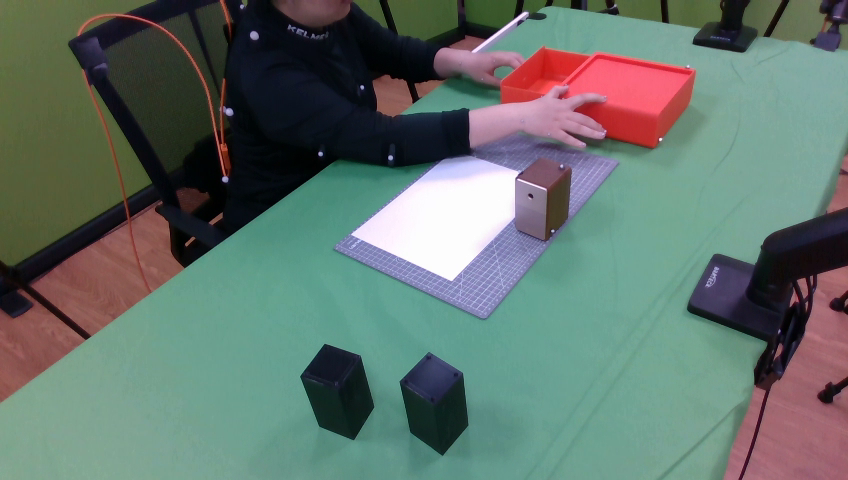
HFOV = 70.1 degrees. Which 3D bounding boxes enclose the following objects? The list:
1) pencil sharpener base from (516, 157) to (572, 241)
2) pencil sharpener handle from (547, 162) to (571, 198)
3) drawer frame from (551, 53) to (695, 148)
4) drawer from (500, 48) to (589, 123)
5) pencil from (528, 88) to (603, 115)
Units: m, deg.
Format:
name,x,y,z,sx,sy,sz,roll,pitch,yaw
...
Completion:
name,x,y,z,sx,sy,sz,roll,pitch,yaw
pencil sharpener base,0.189,-0.065,0.948,0.061,0.107,0.077,24,49,33
pencil sharpener handle,0.222,-0.101,0.967,0.035,0.068,0.031,19,46,38
drawer frame,0.391,-0.281,1.196,0.212,0.083,0.202,22,48,30
drawer,0.295,-0.316,1.256,0.210,0.073,0.195,21,46,29
pencil,0.300,-0.295,1.273,0.195,0.012,0.012,-21,42,-19
